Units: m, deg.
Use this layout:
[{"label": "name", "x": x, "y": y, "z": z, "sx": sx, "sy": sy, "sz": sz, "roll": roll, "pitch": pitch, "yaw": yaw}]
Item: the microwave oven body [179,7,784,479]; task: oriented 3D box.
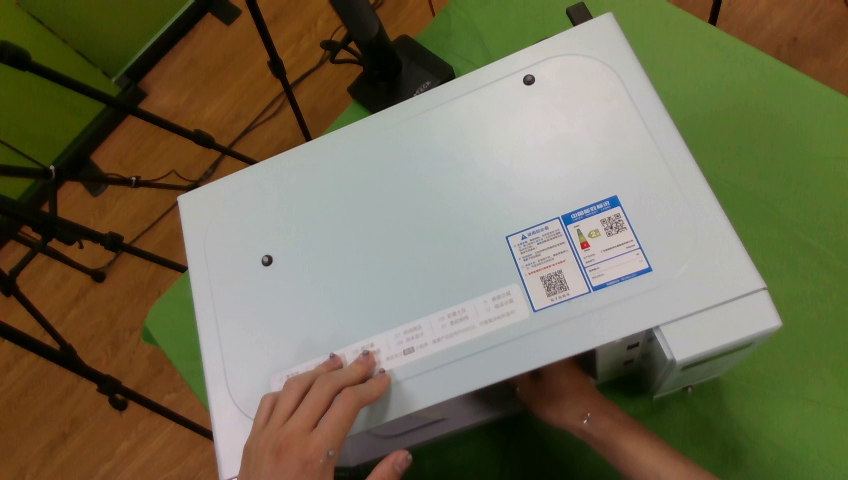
[{"label": "microwave oven body", "x": 0.036, "y": 0.034, "z": 0.612, "sx": 0.441, "sy": 0.262, "sz": 0.323, "roll": -22, "pitch": 66, "yaw": 8}]

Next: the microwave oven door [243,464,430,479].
[{"label": "microwave oven door", "x": 0.041, "y": 0.243, "z": 0.527, "sx": 0.354, "sy": 0.246, "sz": 0.039, "roll": 3, "pitch": 72, "yaw": 16}]

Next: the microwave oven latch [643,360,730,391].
[{"label": "microwave oven latch", "x": 0.267, "y": 0.130, "z": 0.619, "sx": 0.079, "sy": 0.030, "sz": 0.030, "roll": -20, "pitch": 67, "yaw": 9}]
